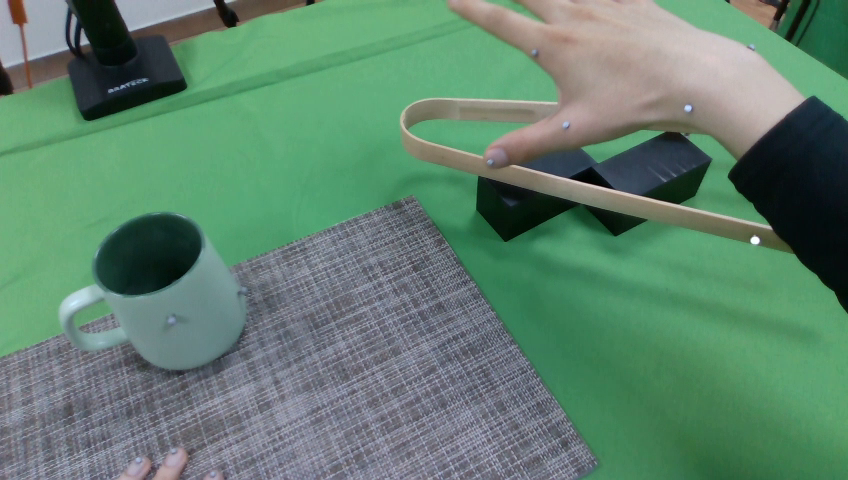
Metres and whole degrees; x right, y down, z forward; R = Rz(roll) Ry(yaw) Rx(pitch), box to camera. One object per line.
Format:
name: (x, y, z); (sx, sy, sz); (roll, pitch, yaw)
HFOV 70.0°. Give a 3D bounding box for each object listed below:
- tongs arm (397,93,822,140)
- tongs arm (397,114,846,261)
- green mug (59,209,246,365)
tongs arm: (0.169, -0.108, 0.567); (0.384, 0.027, 0.050); (7, 57, 7)
tongs arm: (0.149, -0.046, 0.524); (0.386, 0.028, 0.028); (17, 62, 14)
green mug: (-0.210, 0.045, 0.468); (0.125, 0.106, 0.091); (-24, 56, -16)
